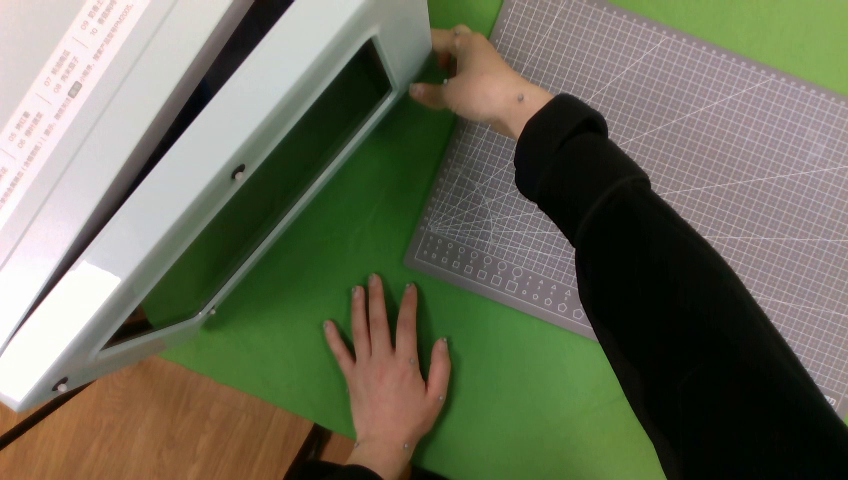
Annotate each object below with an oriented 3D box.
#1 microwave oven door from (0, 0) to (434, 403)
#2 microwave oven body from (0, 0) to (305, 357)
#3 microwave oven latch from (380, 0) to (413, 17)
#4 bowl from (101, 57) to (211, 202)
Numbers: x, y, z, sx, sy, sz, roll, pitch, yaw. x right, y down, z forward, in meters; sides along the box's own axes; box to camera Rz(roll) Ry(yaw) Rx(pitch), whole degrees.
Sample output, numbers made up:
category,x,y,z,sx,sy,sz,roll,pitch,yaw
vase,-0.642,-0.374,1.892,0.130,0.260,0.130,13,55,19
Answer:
category,x,y,z,sx,sy,sz,roll,pitch,yaw
microwave oven door,-0.126,-0.048,0.455,0.039,0.243,0.356,42,93,1
microwave oven body,-0.235,-0.179,0.456,0.326,0.260,0.442,35,94,-1
microwave oven latch,-0.008,-0.242,0.541,0.030,0.029,0.079,38,94,-1
bowl,-0.236,-0.102,0.491,0.151,0.077,0.151,0,90,4
